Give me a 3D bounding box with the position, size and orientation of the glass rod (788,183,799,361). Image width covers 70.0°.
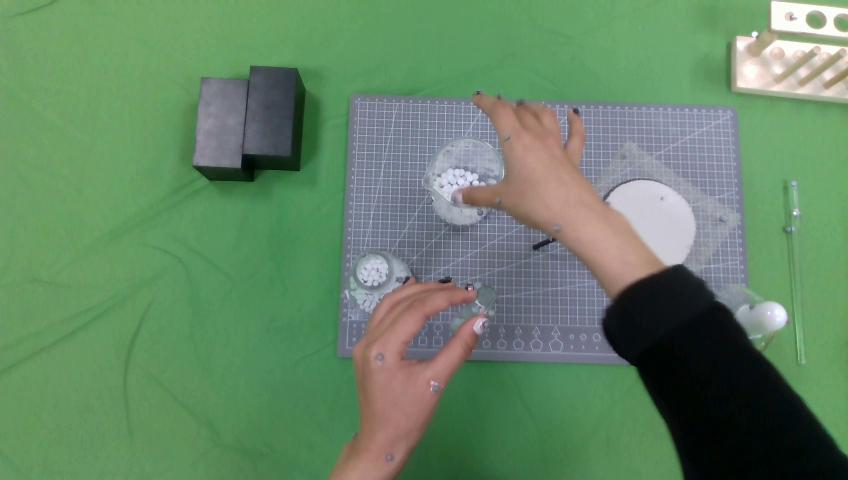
[{"bbox_3d":[0.413,0.034,0.676,0.008,0.008,0.199,3,83,-1],"label":"glass rod"}]

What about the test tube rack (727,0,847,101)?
[{"bbox_3d":[0.483,-0.207,0.681,0.242,0.085,0.066,5,79,0],"label":"test tube rack"}]

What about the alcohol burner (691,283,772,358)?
[{"bbox_3d":[0.319,0.079,0.609,0.078,0.119,0.077,0,79,2],"label":"alcohol burner"}]

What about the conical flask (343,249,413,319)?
[{"bbox_3d":[-0.048,0.038,0.603,0.075,0.122,0.075,0,79,-1],"label":"conical flask"}]

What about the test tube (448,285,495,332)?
[{"bbox_3d":[0.036,0.058,0.489,0.017,0.151,0.017,1,74,-5],"label":"test tube"}]

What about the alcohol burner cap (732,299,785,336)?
[{"bbox_3d":[0.320,0.071,0.574,0.034,0.048,0.033,1,73,-4],"label":"alcohol burner cap"}]

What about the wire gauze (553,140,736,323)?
[{"bbox_3d":[0.197,-0.011,0.544,0.125,0.011,0.121,38,82,5],"label":"wire gauze"}]

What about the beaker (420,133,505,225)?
[{"bbox_3d":[0.037,-0.057,0.634,0.084,0.100,0.073,-15,80,-3],"label":"beaker"}]

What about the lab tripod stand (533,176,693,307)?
[{"bbox_3d":[0.194,-0.002,0.611,0.148,0.132,0.148,0,81,0],"label":"lab tripod stand"}]
